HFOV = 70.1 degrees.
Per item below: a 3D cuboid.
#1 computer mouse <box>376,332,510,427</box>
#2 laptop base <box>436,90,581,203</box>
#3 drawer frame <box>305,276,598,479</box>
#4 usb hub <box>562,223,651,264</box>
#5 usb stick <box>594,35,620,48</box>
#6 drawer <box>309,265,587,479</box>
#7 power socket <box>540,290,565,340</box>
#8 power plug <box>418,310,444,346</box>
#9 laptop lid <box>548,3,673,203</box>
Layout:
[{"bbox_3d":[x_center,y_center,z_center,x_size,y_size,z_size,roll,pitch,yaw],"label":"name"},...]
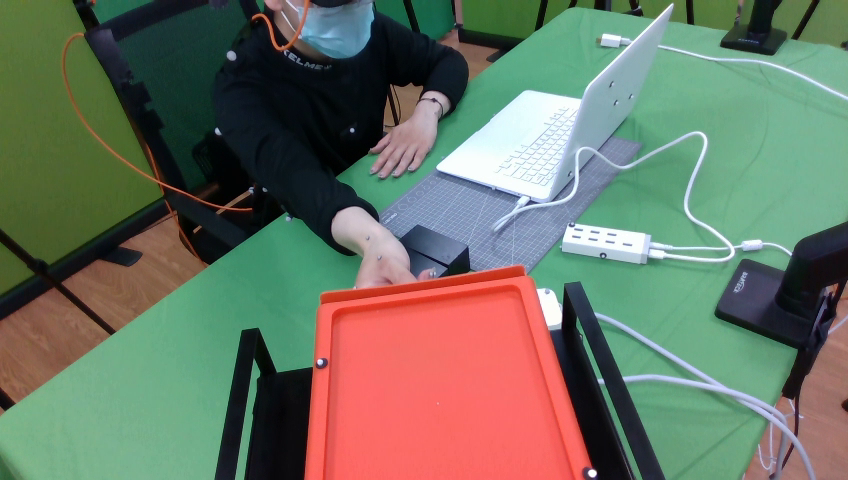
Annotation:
[{"bbox_3d":[0.014,0.116,0.533,0.116,0.041,0.063,13,47,30],"label":"computer mouse"},{"bbox_3d":[0.215,-0.192,1.172,0.233,0.023,0.355,19,46,32],"label":"laptop base"},{"bbox_3d":[0.014,0.137,0.486,0.202,0.083,0.212,-8,41,-1],"label":"drawer frame"},{"bbox_3d":[0.279,0.005,0.926,0.124,0.025,0.049,10,43,19],"label":"usb hub"},{"bbox_3d":[0.443,-0.482,1.466,0.059,0.021,0.027,10,43,10],"label":"usb stick"},{"bbox_3d":[0.011,0.126,0.502,0.195,0.073,0.210,-7,41,-1],"label":"drawer"},{"bbox_3d":[0.081,0.112,0.822,0.227,0.033,0.072,-6,41,0],"label":"power socket"},{"bbox_3d":[0.007,0.122,0.786,0.035,0.053,0.072,1,39,8],"label":"power plug"},{"bbox_3d":[0.320,-0.235,1.026,0.013,0.242,0.357,31,50,20],"label":"laptop lid"}]
